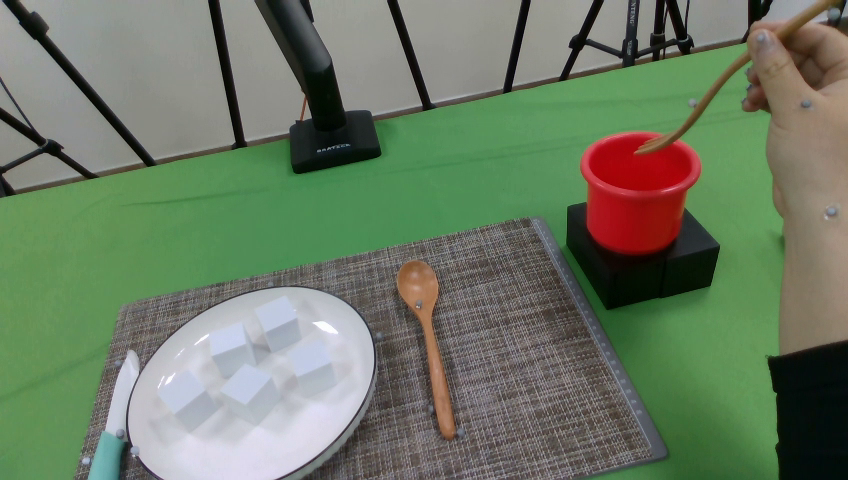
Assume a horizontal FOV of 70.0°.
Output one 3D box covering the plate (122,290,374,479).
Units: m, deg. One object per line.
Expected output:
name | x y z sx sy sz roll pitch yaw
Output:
plate | -0.143 0.128 0.517 0.207 0.039 0.205 -5 40 5

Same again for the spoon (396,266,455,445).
spoon | 0.003 0.094 0.541 0.042 0.022 0.191 3 38 -13

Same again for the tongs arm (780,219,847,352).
tongs arm | 0.357 0.112 0.454 0.028 0.028 0.383 -3 41 3

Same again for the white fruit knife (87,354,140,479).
white fruit knife | -0.260 0.171 0.507 0.027 0.016 0.205 10 33 -22

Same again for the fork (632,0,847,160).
fork | 0.207 -0.105 0.405 0.028 0.208 0.018 -35 80 -26
